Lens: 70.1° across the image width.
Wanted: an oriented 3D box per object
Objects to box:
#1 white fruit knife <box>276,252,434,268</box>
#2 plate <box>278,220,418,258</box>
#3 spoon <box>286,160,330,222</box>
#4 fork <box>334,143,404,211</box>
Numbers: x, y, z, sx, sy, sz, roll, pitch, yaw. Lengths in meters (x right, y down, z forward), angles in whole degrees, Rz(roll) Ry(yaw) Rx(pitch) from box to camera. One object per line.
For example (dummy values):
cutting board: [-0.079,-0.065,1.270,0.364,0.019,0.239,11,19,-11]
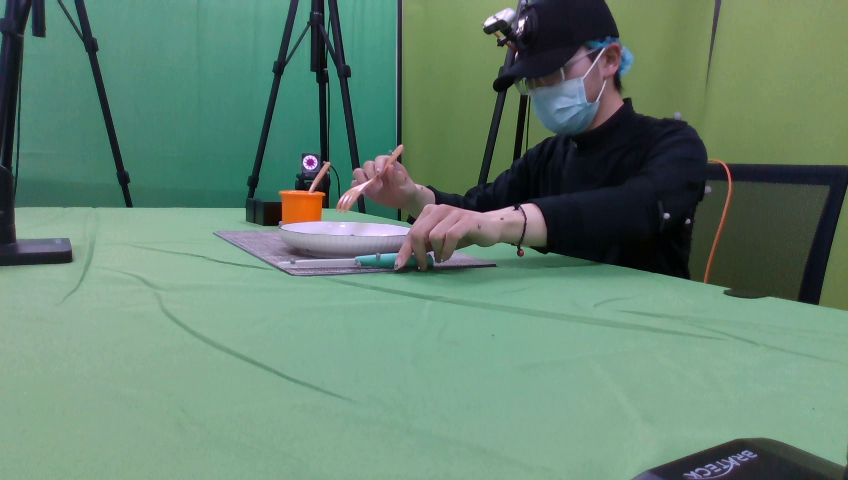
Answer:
white fruit knife: [-0.082,0.028,0.771,0.208,0.016,0.027,-2,-28,-20]
plate: [-0.114,-0.002,0.914,0.209,0.038,0.209,2,7,0]
spoon: [-0.233,-0.101,1.252,0.041,0.193,0.022,4,-37,22]
fork: [-0.085,-0.107,0.989,0.028,0.018,0.208,3,35,31]
